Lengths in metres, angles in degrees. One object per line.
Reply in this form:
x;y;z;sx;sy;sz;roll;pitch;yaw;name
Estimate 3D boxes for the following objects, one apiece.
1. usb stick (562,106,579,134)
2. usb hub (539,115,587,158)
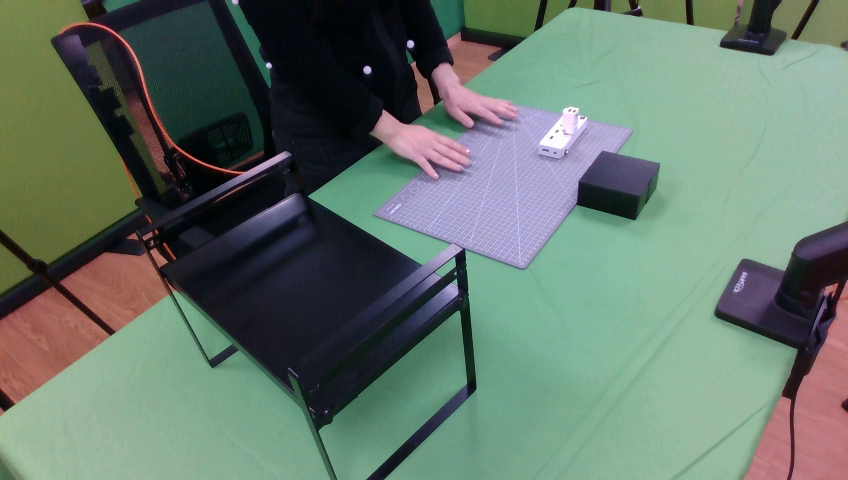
0.274;-0.218;1.132;0.027;0.059;0.021;19;46;24;usb stick
0.269;-0.203;1.164;0.049;0.025;0.125;19;48;27;usb hub
